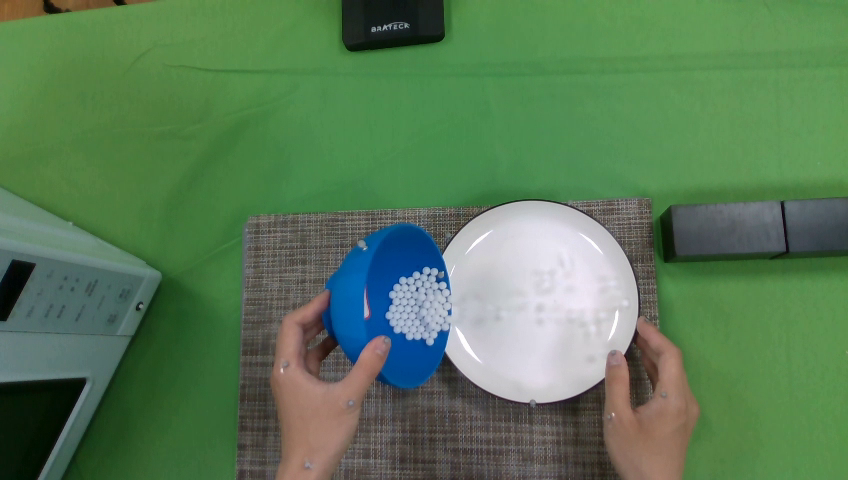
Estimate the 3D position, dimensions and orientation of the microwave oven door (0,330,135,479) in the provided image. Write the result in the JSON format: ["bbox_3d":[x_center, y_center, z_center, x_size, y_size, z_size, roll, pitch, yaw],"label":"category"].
[{"bbox_3d":[-0.434,0.241,0.558,0.039,0.245,0.355,24,85,13],"label":"microwave oven door"}]

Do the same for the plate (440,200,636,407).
[{"bbox_3d":[0.107,0.064,0.622,0.207,0.039,0.207,-1,80,8],"label":"plate"}]

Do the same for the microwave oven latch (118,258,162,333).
[{"bbox_3d":[-0.323,0.062,0.675,0.030,0.029,0.079,26,86,12],"label":"microwave oven latch"}]

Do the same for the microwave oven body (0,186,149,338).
[{"bbox_3d":[-0.546,0.146,0.597,0.325,0.261,0.441,24,86,12],"label":"microwave oven body"}]

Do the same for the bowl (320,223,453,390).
[{"bbox_3d":[-0.043,0.062,0.567,0.076,0.152,0.151,-4,79,31],"label":"bowl"}]
